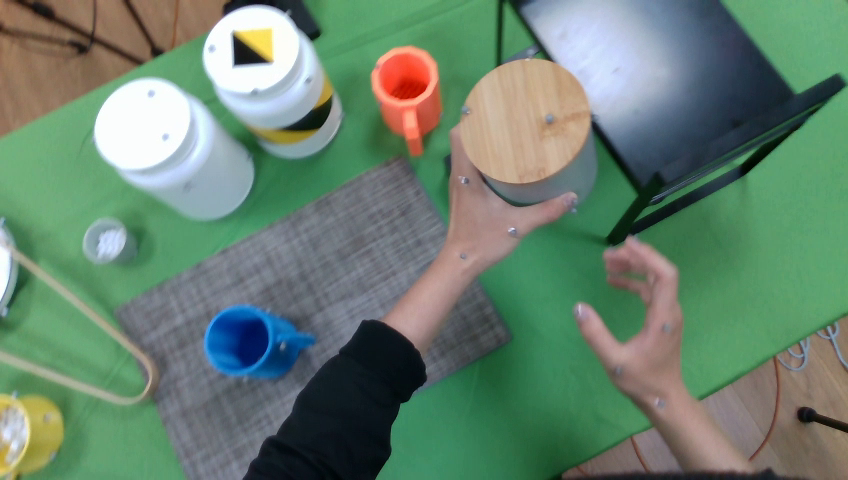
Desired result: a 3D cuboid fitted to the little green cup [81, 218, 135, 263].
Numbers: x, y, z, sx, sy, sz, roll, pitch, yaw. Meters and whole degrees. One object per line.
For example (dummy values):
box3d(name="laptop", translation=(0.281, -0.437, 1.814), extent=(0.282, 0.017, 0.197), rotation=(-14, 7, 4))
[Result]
box3d(name="little green cup", translation=(-0.435, 0.003, 0.839), extent=(0.061, 0.039, 0.061), rotation=(-1, 77, 3))

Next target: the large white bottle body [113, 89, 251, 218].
box3d(name="large white bottle body", translation=(-0.317, -0.114, 0.782), extent=(0.130, 0.185, 0.130), rotation=(-1, 76, 5))

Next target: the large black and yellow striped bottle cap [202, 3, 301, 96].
box3d(name="large black and yellow striped bottle cap", translation=(-0.203, -0.226, 0.713), extent=(0.115, 0.019, 0.114), rotation=(-1, 76, 3))

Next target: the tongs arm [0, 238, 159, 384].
box3d(name="tongs arm", translation=(-0.502, 0.065, 0.813), extent=(0.387, 0.028, 0.028), rotation=(36, 73, 5))

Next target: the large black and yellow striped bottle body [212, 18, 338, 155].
box3d(name="large black and yellow striped bottle body", translation=(-0.195, -0.204, 0.794), extent=(0.131, 0.185, 0.130), rotation=(-1, 76, 5))

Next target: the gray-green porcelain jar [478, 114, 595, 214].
box3d(name="gray-green porcelain jar", translation=(0.103, -0.085, 0.563), extent=(0.105, 0.127, 0.105), rotation=(-5, 75, 18))

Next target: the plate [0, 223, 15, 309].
box3d(name="plate", translation=(-0.667, 0.050, 0.846), extent=(0.207, 0.039, 0.206), rotation=(-1, 77, 4))

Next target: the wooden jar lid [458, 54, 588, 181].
box3d(name="wooden jar lid", translation=(0.082, -0.100, 0.506), extent=(0.108, 0.021, 0.108), rotation=(-4, 78, 19))

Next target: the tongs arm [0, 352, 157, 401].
box3d(name="tongs arm", translation=(-0.541, 0.137, 0.796), extent=(0.384, 0.026, 0.050), rotation=(22, 76, 2))

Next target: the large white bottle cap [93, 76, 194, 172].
box3d(name="large white bottle cap", translation=(-0.324, -0.135, 0.700), extent=(0.115, 0.018, 0.114), rotation=(-1, 77, 5))

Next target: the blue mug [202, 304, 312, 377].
box3d(name="blue mug", translation=(-0.198, 0.126, 0.753), extent=(0.116, 0.106, 0.082), rotation=(-4, 76, 4))

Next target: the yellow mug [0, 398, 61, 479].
box3d(name="yellow mug", translation=(-0.535, 0.268, 0.770), extent=(0.100, 0.064, 0.130), rotation=(8, 78, 6))

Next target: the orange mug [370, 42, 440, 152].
box3d(name="orange mug", translation=(-0.022, -0.188, 0.821), extent=(0.083, 0.101, 0.125), rotation=(-7, 72, 4))
